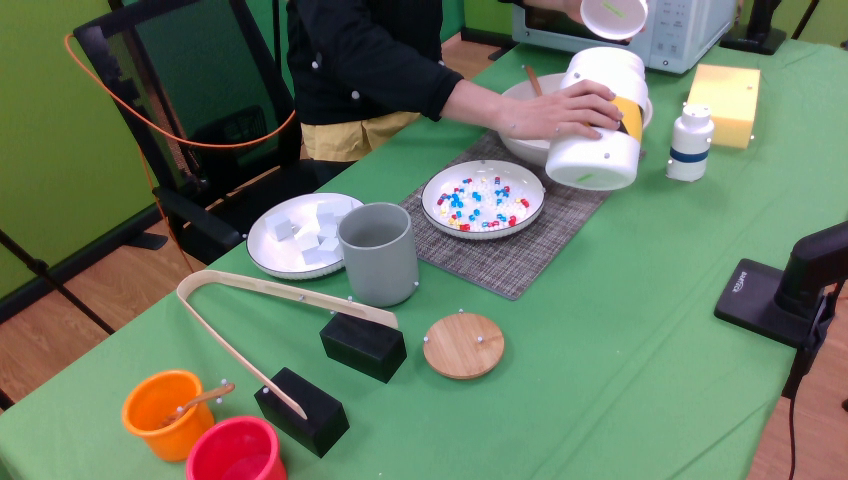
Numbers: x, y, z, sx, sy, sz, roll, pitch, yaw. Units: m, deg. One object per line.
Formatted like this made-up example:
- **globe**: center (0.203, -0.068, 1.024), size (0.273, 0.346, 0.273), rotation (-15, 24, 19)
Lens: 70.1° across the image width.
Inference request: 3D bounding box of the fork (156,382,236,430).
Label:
- **fork**: center (-0.262, 0.189, 0.690), size (0.018, 0.206, 0.028), rotation (49, 43, -7)

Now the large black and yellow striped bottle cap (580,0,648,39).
- **large black and yellow striped bottle cap**: center (0.332, -0.402, 1.059), size (0.114, 0.116, 0.019), rotation (16, 68, 25)

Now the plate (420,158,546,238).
- **plate**: center (0.099, -0.067, 1.017), size (0.209, 0.038, 0.208), rotation (-4, 40, 4)

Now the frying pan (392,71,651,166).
- **frying pan**: center (0.175, -0.249, 1.165), size (0.487, 0.103, 0.306), rotation (12, 42, 10)

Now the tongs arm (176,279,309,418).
- **tongs arm**: center (-0.254, 0.132, 0.801), size (0.028, 0.028, 0.384), rotation (-41, 40, -23)

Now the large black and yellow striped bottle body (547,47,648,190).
- **large black and yellow striped bottle body**: center (0.262, -0.179, 0.906), size (0.130, 0.131, 0.183), rotation (8, 82, 17)

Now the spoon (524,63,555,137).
- **spoon**: center (0.234, -0.281, 1.204), size (0.041, 0.022, 0.192), rotation (-15, 68, 2)

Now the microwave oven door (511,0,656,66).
- **microwave oven door**: center (0.351, -0.540, 1.349), size (0.353, 0.245, 0.039), rotation (24, 50, 31)

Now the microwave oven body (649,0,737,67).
- **microwave oven body**: center (0.475, -0.602, 1.411), size (0.438, 0.261, 0.327), rotation (23, 50, 32)

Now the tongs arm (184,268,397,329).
- **tongs arm**: center (-0.202, 0.084, 0.848), size (0.382, 0.027, 0.051), rotation (11, 45, 35)

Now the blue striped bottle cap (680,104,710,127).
- **blue striped bottle cap**: center (0.443, -0.205, 0.989), size (0.044, 0.021, 0.044), rotation (-1, 42, 1)

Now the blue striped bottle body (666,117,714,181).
- **blue striped bottle body**: center (0.450, -0.166, 1.022), size (0.063, 0.121, 0.063), rotation (-5, 41, 5)

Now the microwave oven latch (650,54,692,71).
- **microwave oven latch**: center (0.530, -0.386, 1.301), size (0.078, 0.029, 0.030), rotation (24, 50, 32)

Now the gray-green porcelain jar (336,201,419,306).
- **gray-green porcelain jar**: center (-0.064, 0.024, 0.872), size (0.106, 0.127, 0.105), rotation (-4, 41, 4)

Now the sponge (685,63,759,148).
- **sponge**: center (0.569, -0.263, 1.164), size (0.117, 0.061, 0.207), rotation (12, 45, 22)

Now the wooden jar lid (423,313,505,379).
- **wooden jar lid**: center (0.053, 0.142, 0.800), size (0.108, 0.021, 0.108), rotation (-5, 39, 4)

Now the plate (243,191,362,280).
- **plate**: center (-0.188, -0.005, 0.992), size (0.207, 0.039, 0.206), rotation (-3, 41, 3)
